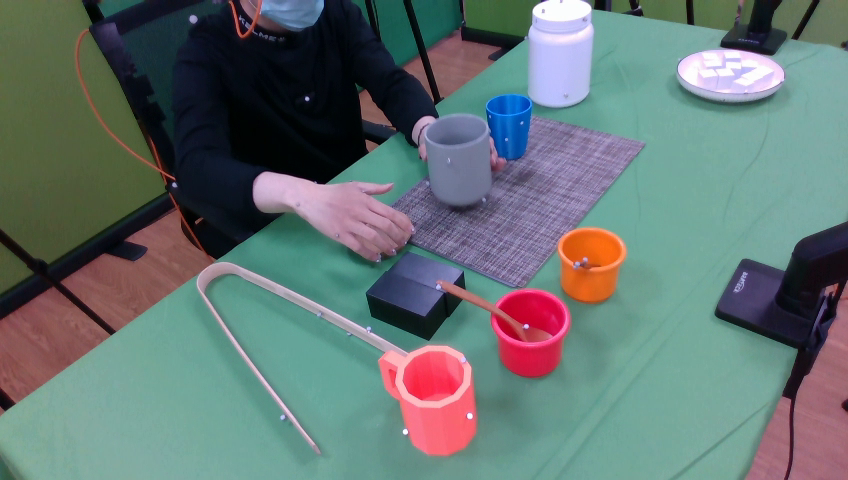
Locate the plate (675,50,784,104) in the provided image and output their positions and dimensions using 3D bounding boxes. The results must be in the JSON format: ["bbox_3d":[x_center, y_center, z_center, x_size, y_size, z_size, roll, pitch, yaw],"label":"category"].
[{"bbox_3d":[0.631,-0.336,1.262,0.207,0.039,0.206,-4,41,4],"label":"plate"}]

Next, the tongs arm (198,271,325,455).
[{"bbox_3d":[-0.236,0.155,0.832,0.028,0.028,0.384,-37,49,-17],"label":"tongs arm"}]

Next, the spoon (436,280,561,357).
[{"bbox_3d":[0.096,0.095,0.757,0.195,0.021,0.041,34,41,-20],"label":"spoon"}]

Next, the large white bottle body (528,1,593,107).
[{"bbox_3d":[0.283,-0.386,1.259,0.130,0.185,0.130,-5,41,5],"label":"large white bottle body"}]

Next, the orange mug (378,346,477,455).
[{"bbox_3d":[0.002,0.179,0.708,0.125,0.101,0.083,25,50,27],"label":"orange mug"}]

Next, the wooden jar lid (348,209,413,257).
[{"bbox_3d":[-0.071,-0.010,0.997,0.108,0.021,0.108,-4,44,5],"label":"wooden jar lid"}]

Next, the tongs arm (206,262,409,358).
[{"bbox_3d":[-0.179,0.106,0.870,0.382,0.027,0.051,23,56,32],"label":"tongs arm"}]

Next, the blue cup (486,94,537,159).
[{"bbox_3d":[0.160,-0.208,1.129,0.092,0.100,0.092,-4,39,4],"label":"blue cup"}]

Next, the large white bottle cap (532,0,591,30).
[{"bbox_3d":[0.274,-0.450,1.204,0.115,0.018,0.114,-4,41,4],"label":"large white bottle cap"}]

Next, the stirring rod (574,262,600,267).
[{"bbox_3d":[0.222,0.033,0.816,0.014,0.006,0.177,7,1,22],"label":"stirring rod"}]

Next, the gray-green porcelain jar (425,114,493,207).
[{"bbox_3d":[0.060,-0.127,1.001,0.106,0.127,0.105,-5,40,4],"label":"gray-green porcelain jar"}]
